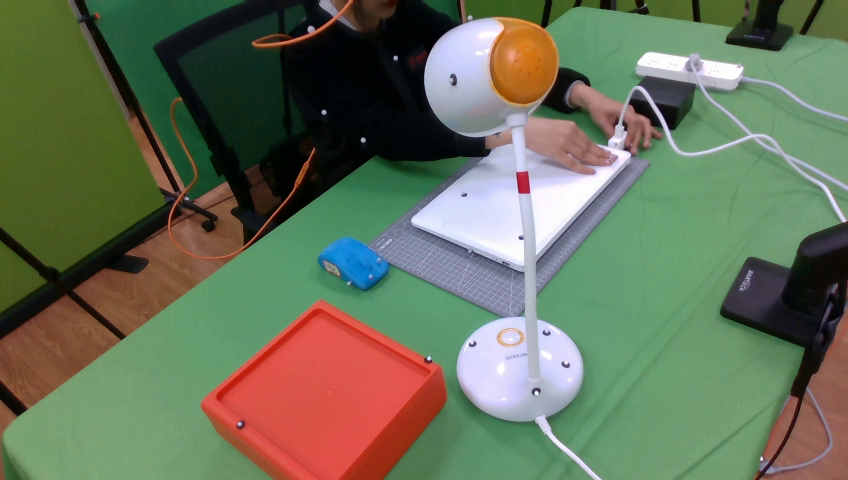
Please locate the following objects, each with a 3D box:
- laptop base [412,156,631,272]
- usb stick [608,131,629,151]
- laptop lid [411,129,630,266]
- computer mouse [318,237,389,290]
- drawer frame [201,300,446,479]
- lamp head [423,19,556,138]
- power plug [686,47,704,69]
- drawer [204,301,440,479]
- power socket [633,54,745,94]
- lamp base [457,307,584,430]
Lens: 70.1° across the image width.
[{"bbox_3d":[0.176,-0.084,1.055,0.233,0.023,0.355,21,48,36],"label":"laptop base"},{"bbox_3d":[0.355,-0.176,1.113,0.021,0.027,0.059,22,49,34],"label":"usb stick"},{"bbox_3d":[0.173,-0.093,1.049,0.239,0.013,0.358,24,49,36],"label":"laptop lid"},{"bbox_3d":[-0.113,0.033,0.959,0.116,0.041,0.063,28,51,31],"label":"computer mouse"},{"bbox_3d":[-0.117,0.193,0.733,0.212,0.083,0.202,23,48,32],"label":"drawer frame"},{"bbox_3d":[0.068,-0.151,0.563,0.113,0.113,0.122,-21,18,-14],"label":"lamp head"},{"bbox_3d":[0.564,-0.384,1.247,0.035,0.073,0.052,22,72,15],"label":"power plug"},{"bbox_3d":[-0.119,0.193,0.735,0.210,0.073,0.195,23,49,32],"label":"drawer"},{"bbox_3d":[0.563,-0.358,1.295,0.225,0.033,0.072,21,50,30],"label":"power socket"},{"bbox_3d":[0.115,0.108,0.713,0.161,0.181,0.178,-16,43,-8],"label":"lamp base"}]
